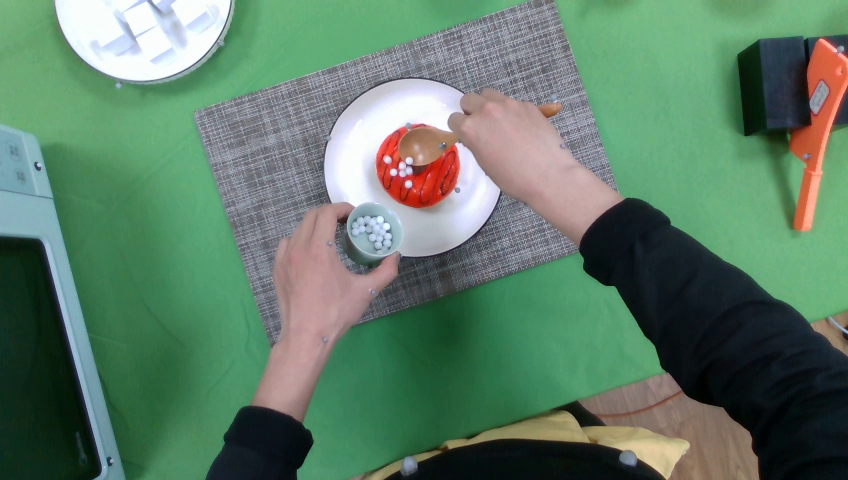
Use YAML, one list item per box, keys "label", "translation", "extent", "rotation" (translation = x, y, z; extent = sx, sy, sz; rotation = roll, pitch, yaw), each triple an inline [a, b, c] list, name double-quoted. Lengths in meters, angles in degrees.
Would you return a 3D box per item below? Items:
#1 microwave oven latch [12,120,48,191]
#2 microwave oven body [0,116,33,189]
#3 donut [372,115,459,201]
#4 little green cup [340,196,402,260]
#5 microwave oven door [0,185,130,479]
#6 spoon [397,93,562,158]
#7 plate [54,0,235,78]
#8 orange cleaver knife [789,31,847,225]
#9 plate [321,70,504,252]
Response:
- label: "microwave oven latch"
  translation: [-0.456, -0.094, 0.689]
  extent: [0.030, 0.029, 0.079]
  rotation: [-14, 90, 0]
- label: "microwave oven body"
  translation: [-0.554, 0.113, 0.591]
  extent: [0.326, 0.260, 0.441]
  rotation: [-15, 90, 0]
- label: "donut"
  translation: [-0.010, -0.093, 0.690]
  extent: [0.099, 0.048, 0.099]
  rotation: [0, 92, 3]
- label: "little green cup"
  translation: [-0.057, -0.011, 0.624]
  extent: [0.062, 0.039, 0.061]
  rotation: [11, 55, -16]
- label: "microwave oven door"
  translation: [-0.402, 0.116, 0.585]
  extent: [0.039, 0.244, 0.355]
  rotation: [-16, 89, 0]
- label: "spoon"
  translation: [0.048, -0.113, 0.598]
  extent: [0.192, 0.021, 0.042]
  rotation: [-6, 112, 43]
- label: "plate"
  translation: [-0.320, -0.290, 0.709]
  extent: [0.208, 0.039, 0.207]
  rotation: [0, 89, 0]
- label: "orange cleaver knife"
  translation: [0.433, -0.121, 0.680]
  extent: [0.012, 0.076, 0.213]
  rotation: [-3, 118, 3]
- label: "plate"
  translation: [-0.013, -0.089, 0.701]
  extent: [0.209, 0.038, 0.209]
  rotation: [0, 90, 1]
